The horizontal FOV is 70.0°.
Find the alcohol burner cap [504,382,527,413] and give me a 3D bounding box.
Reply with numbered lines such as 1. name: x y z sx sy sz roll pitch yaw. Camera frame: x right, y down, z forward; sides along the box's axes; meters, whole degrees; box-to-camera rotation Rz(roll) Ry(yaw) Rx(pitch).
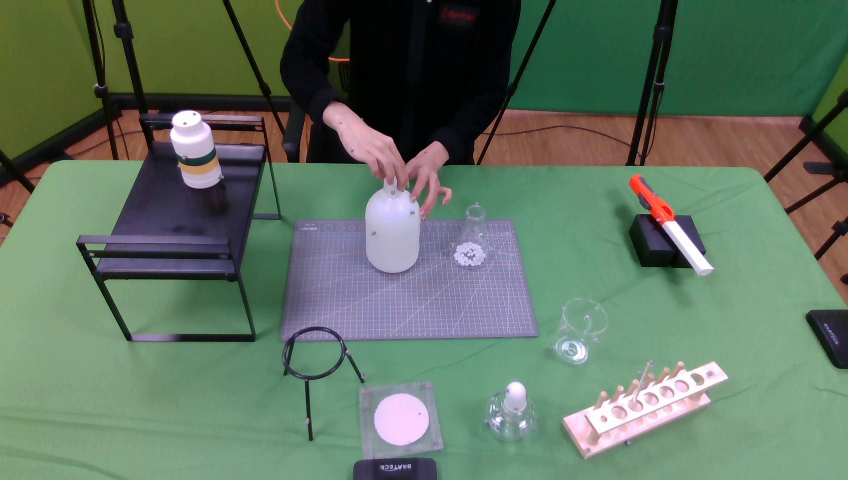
1. alcohol burner cap: 0.132 0.225 0.877 0.034 0.048 0.033 -4 47 4

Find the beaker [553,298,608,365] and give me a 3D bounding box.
1. beaker: 0.260 0.154 1.015 0.073 0.101 0.084 37 54 27

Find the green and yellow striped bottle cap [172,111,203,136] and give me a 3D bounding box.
1. green and yellow striped bottle cap: -0.374 -0.185 0.957 0.045 0.020 0.045 3 45 -3

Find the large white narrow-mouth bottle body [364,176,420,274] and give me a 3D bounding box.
1. large white narrow-mouth bottle body: -0.058 -0.034 1.104 0.102 0.195 0.101 4 46 -4

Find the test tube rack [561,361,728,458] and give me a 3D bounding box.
1. test tube rack: 0.341 0.248 0.940 0.243 0.085 0.066 -15 49 -18

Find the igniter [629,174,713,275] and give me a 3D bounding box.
1. igniter: 0.481 -0.040 1.202 0.057 0.025 0.274 -2 46 -21

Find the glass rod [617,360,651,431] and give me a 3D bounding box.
1. glass rod: 0.297 0.227 0.865 0.008 0.201 0.008 -1 48 2

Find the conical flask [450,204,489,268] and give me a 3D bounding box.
1. conical flask: 0.091 -0.010 1.141 0.075 0.122 0.075 2 46 -2

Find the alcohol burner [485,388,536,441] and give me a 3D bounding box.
1. alcohol burner: 0.131 0.249 0.904 0.078 0.120 0.077 1 48 -1

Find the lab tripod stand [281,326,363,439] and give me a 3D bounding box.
1. lab tripod stand: -0.166 0.202 0.913 0.148 0.132 0.147 1 47 -1

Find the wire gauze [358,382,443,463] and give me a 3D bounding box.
1. wire gauze: -0.040 0.277 0.937 0.121 0.011 0.124 -4 47 -7

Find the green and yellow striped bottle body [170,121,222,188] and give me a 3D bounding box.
1. green and yellow striped bottle body: -0.375 -0.149 0.995 0.063 0.120 0.063 2 46 -2

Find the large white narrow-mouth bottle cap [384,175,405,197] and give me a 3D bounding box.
1. large white narrow-mouth bottle cap: -0.050 -0.093 1.041 0.038 0.024 0.037 4 46 -4
